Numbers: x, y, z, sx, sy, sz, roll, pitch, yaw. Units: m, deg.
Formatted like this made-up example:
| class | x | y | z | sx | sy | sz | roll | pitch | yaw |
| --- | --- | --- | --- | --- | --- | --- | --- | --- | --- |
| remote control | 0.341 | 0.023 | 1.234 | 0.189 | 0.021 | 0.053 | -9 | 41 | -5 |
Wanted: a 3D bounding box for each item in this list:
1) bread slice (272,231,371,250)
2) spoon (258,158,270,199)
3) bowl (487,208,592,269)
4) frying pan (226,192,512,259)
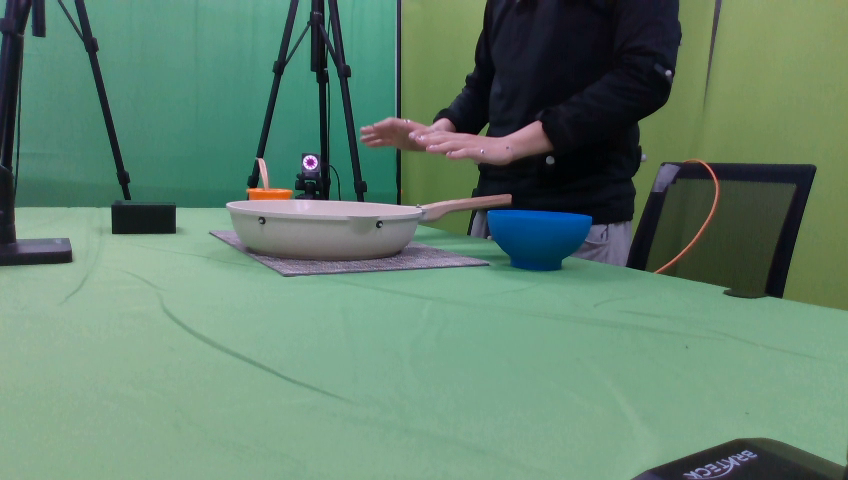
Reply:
| class | x | y | z | sx | sy | sz | roll | pitch | yaw |
| --- | --- | --- | --- | --- | --- | --- | --- | --- | --- |
| bread slice | -0.148 | 0.000 | 0.929 | 0.133 | 0.018 | 0.107 | 6 | 8 | 38 |
| spoon | -0.332 | -0.107 | 1.269 | 0.042 | 0.021 | 0.193 | 0 | 53 | -23 |
| bowl | 0.164 | -0.003 | 0.875 | 0.151 | 0.077 | 0.151 | 2 | 7 | 0 |
| frying pan | -0.058 | -0.041 | 0.975 | 0.490 | 0.102 | 0.305 | -11 | 13 | -26 |
